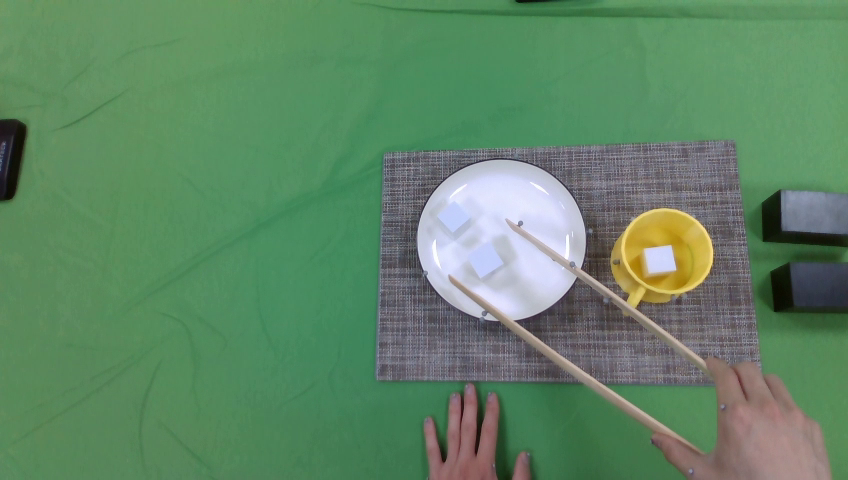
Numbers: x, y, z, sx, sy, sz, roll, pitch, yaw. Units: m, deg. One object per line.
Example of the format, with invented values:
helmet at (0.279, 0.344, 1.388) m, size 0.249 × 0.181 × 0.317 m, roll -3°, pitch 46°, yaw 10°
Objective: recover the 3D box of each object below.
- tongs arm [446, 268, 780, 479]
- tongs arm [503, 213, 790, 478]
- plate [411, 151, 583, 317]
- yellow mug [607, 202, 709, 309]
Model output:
tongs arm at (0.151, 0.117, 0.600) m, size 0.028 × 0.028 × 0.383 m, roll -43°, pitch 47°, yaw -15°
tongs arm at (0.191, 0.079, 0.607) m, size 0.051 × 0.027 × 0.380 m, roll -42°, pitch 47°, yaw -8°
plate at (0.089, -0.007, 0.749) m, size 0.207 × 0.039 × 0.206 m, roll -1°, pitch 77°, yaw 6°
yellow mug at (0.263, 0.025, 0.708) m, size 0.099 × 0.064 × 0.130 m, roll 31°, pitch 82°, yaw 12°
